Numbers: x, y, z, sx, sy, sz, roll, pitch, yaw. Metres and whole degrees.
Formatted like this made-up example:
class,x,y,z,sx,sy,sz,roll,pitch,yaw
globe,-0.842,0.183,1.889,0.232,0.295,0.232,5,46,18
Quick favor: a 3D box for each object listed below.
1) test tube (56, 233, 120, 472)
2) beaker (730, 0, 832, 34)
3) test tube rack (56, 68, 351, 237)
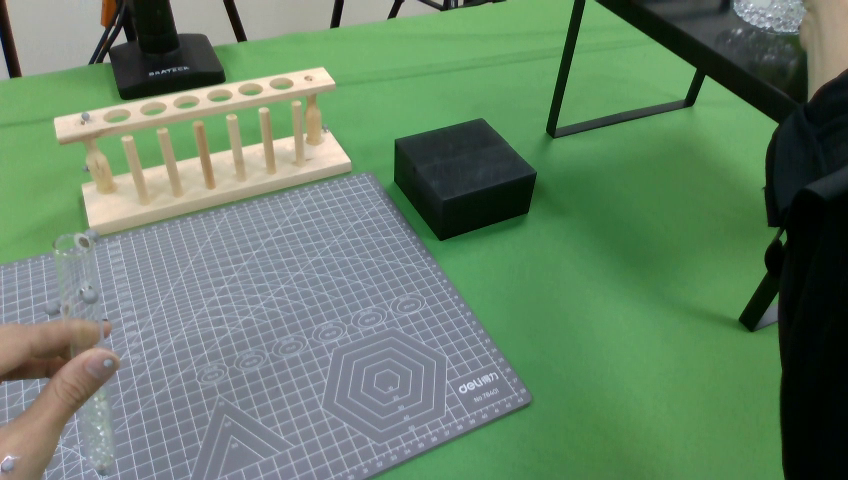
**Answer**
class,x,y,z,sx,sy,sz,roll,pitch,yaw
test tube,-0.159,0.062,0.290,0.017,0.151,0.017,10,33,-6
beaker,0.281,-0.217,0.457,0.083,0.101,0.074,33,56,27
test tube rack,-0.195,-0.087,0.570,0.243,0.086,0.066,-18,48,-22
